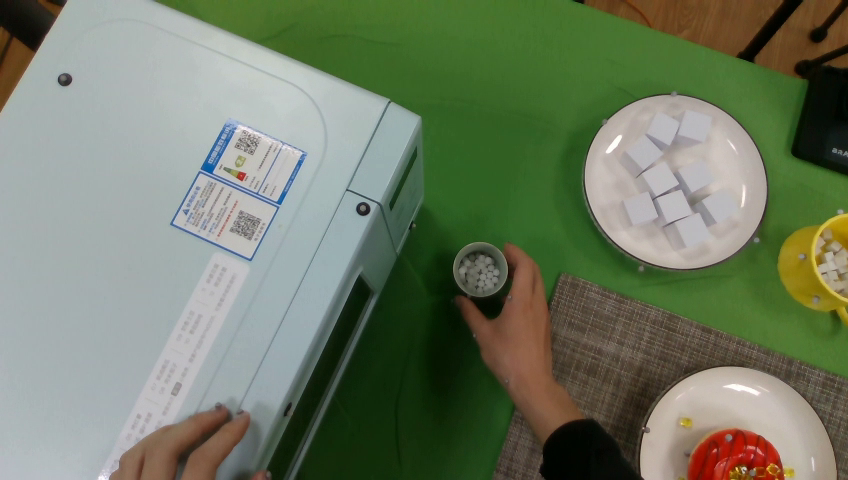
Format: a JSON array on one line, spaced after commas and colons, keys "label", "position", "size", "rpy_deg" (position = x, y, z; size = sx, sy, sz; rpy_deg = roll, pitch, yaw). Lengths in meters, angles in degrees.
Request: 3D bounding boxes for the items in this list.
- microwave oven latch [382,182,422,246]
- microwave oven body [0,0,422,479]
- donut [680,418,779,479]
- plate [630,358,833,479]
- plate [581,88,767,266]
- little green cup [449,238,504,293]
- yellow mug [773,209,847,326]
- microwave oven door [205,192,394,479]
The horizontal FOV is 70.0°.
[{"label": "microwave oven latch", "position": [-0.028, -0.035, 0.672], "size": [0.030, 0.029, 0.079], "rpy_deg": [26, 82, 4]}, {"label": "microwave oven body", "position": [-0.236, 0.048, 0.559], "size": [0.326, 0.261, 0.440], "rpy_deg": [24, 82, 4]}, {"label": "donut", "position": [0.317, 0.236, 0.630], "size": [0.099, 0.048, 0.099], "rpy_deg": [0, 83, 2]}, {"label": "plate", "position": [0.319, 0.230, 0.642], "size": [0.209, 0.038, 0.208], "rpy_deg": [0, 80, 0]}, {"label": "plate", "position": [0.283, -0.071, 0.699], "size": [0.208, 0.039, 0.207], "rpy_deg": [0, 80, 0]}, {"label": "little green cup", "position": [0.058, 0.030, 0.680], "size": [0.061, 0.039, 0.061], "rpy_deg": [0, 84, 0]}, {"label": "yellow mug", "position": [0.457, 0.035, 0.667], "size": [0.100, 0.064, 0.130], "rpy_deg": [-16, 81, -3]}, {"label": "microwave oven door", "position": [-0.122, 0.144, 0.538], "size": [0.039, 0.244, 0.355], "rpy_deg": [24, 81, 5]}]
